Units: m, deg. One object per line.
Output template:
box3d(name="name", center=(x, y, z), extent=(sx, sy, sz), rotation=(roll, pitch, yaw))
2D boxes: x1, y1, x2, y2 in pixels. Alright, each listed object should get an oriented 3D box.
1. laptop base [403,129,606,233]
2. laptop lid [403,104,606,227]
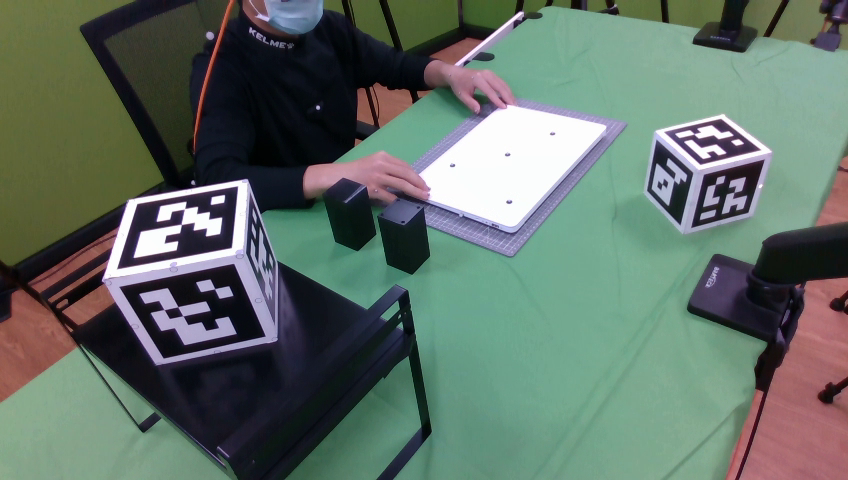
box3d(name="laptop base", center=(0.156, -0.144, 1.116), extent=(0.233, 0.023, 0.355), rotation=(20, 47, 32))
box3d(name="laptop lid", center=(0.153, -0.154, 1.110), extent=(0.239, 0.013, 0.358), rotation=(22, 48, 33))
